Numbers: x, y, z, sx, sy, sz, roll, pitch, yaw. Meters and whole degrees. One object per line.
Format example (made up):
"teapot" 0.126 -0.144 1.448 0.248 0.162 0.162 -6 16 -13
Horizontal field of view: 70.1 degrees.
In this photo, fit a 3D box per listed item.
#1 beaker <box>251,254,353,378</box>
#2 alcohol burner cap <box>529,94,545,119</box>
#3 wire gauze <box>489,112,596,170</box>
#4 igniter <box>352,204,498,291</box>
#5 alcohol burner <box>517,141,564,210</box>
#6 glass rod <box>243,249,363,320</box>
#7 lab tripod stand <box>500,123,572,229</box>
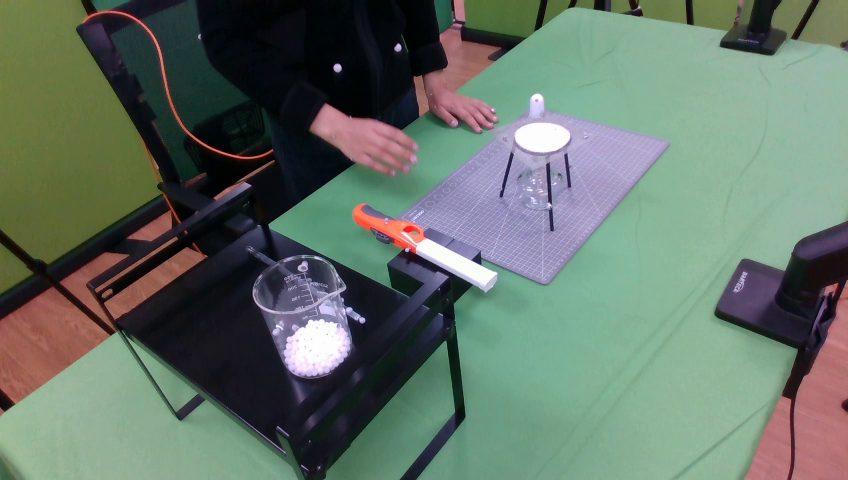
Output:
"beaker" -0.106 0.074 0.565 0.084 0.101 0.073 -1 41 8
"alcohol burner cap" 0.233 -0.277 1.247 0.034 0.048 0.033 -5 41 5
"wire gauze" 0.183 -0.161 0.942 0.122 0.011 0.124 -24 44 -18
"igniter" -0.009 0.005 0.895 0.274 0.025 0.057 27 48 32
"alcohol burner" 0.193 -0.110 1.001 0.078 0.119 0.077 -5 38 5
"glass rod" -0.141 0.046 0.674 0.198 0.008 0.008 24 49 32
"lab tripod stand" 0.194 -0.110 0.985 0.148 0.132 0.147 -3 41 3
